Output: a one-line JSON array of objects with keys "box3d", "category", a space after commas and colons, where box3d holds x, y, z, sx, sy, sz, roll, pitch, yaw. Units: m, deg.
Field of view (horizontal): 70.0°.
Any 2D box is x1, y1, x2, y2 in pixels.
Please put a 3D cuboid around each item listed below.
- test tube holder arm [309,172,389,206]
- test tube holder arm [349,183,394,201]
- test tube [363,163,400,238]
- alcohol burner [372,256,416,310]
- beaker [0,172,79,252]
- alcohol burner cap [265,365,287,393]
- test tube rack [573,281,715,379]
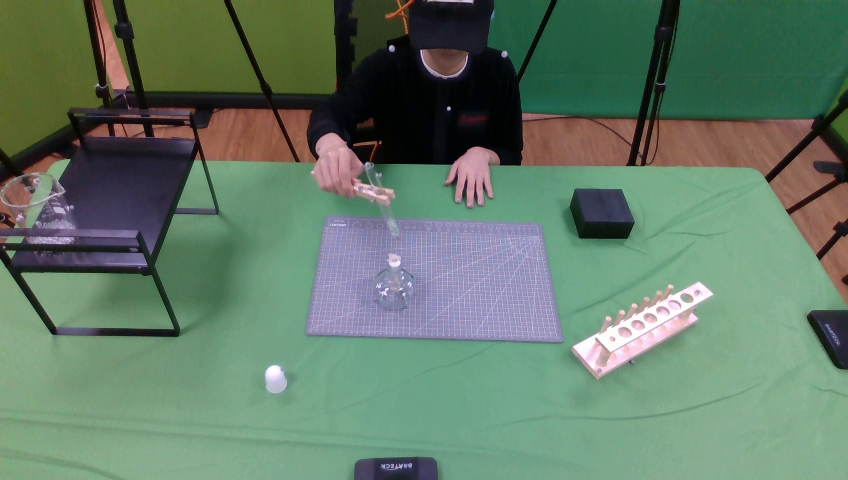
[{"box3d": [-0.125, -0.085, 0.987, 0.177, 0.015, 0.013, 19, 51, 34], "category": "test tube holder arm"}, {"box3d": [-0.086, -0.078, 0.967, 0.087, 0.015, 0.010, 13, 48, 29], "category": "test tube holder arm"}, {"box3d": [-0.066, -0.059, 0.961, 0.017, 0.151, 0.017, -11, 41, 10], "category": "test tube"}, {"box3d": [-0.052, 0.068, 1.057, 0.078, 0.120, 0.077, 1, 48, -1], "category": "alcohol burner"}, {"box3d": [-0.557, -0.038, 0.889, 0.084, 0.101, 0.073, -3, 47, -7], "category": "beaker"}, {"box3d": [-0.236, 0.216, 0.956, 0.034, 0.048, 0.033, 3, 45, -3], "category": "alcohol burner cap"}, {"box3d": [0.378, 0.140, 1.038, 0.242, 0.085, 0.066, -22, 51, -23], "category": "test tube rack"}]
